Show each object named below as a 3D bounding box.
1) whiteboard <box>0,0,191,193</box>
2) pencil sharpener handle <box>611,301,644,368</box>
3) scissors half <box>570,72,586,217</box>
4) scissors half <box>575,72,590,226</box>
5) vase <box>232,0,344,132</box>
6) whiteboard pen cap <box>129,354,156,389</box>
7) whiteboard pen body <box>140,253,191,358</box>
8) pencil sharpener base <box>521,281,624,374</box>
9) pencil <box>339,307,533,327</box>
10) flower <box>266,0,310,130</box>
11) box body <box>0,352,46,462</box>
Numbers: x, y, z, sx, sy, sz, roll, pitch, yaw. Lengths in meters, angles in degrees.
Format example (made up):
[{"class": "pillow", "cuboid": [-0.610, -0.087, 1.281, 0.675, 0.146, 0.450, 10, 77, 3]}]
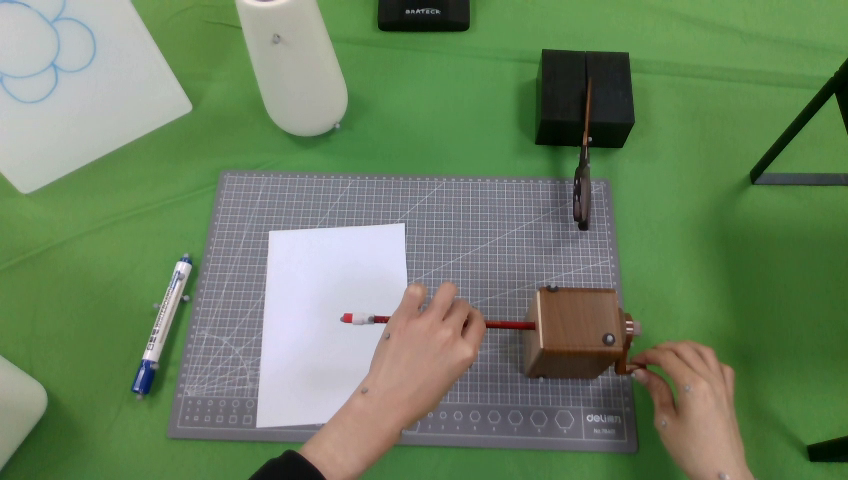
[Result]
[{"class": "whiteboard", "cuboid": [-0.438, -0.247, 0.648, 0.217, 0.309, 0.142, -31, 50, -12]}, {"class": "pencil sharpener handle", "cuboid": [0.186, 0.087, 0.547, 0.030, 0.068, 0.035, 0, 26, 1]}, {"class": "scissors half", "cuboid": [0.169, -0.107, 0.649, 0.013, 0.040, 0.174, 1, 67, 22]}, {"class": "scissors half", "cuboid": [0.177, -0.102, 0.667, 0.012, 0.040, 0.175, 0, 85, 27]}, {"class": "vase", "cuboid": [-0.146, -0.206, 0.651, 0.098, 0.201, 0.097, -1, 65, 2]}, {"class": "whiteboard pen cap", "cuboid": [-0.277, 0.130, 0.600, 0.018, 0.018, 0.033, 7, 62, 5]}, {"class": "whiteboard pen body", "cuboid": [-0.269, 0.077, 0.625, 0.017, 0.017, 0.140, 8, 64, 5]}, {"class": "pencil sharpener base", "cuboid": [0.135, 0.084, 0.565, 0.077, 0.108, 0.061, 0, 65, 1]}, {"class": "pencil", "cuboid": [0.020, 0.070, 0.544, 0.194, 0.012, 0.012, 3, 66, 2]}, {"class": "flower", "cuboid": [-0.154, -0.252, 0.581, 0.044, 0.365, 0.038, -5, 48, 2]}, {"class": "box body", "cuboid": [-0.568, 0.138, 0.524, 0.362, 0.161, 0.253, 27, 69, 12]}]
